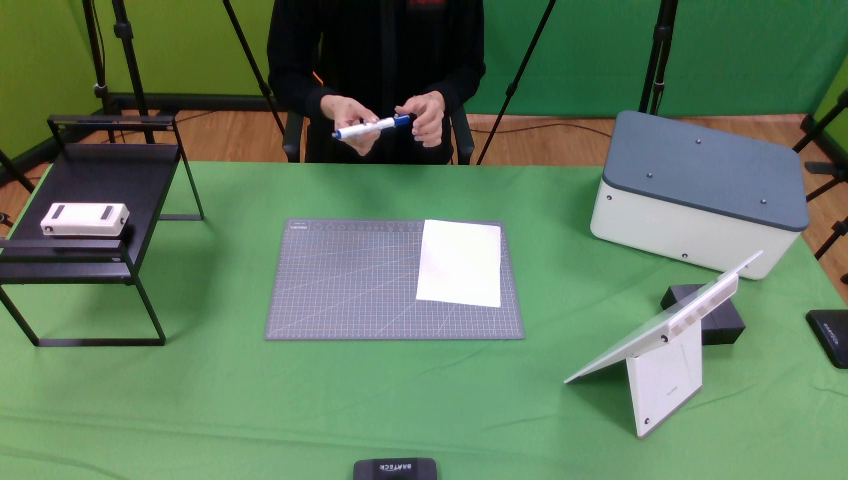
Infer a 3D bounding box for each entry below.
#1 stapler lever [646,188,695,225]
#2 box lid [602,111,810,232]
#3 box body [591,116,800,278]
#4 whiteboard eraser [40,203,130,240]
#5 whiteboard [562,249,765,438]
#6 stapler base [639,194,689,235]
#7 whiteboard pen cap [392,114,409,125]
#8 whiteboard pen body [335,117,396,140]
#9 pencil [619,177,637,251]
[{"bbox_3d":[0.516,-0.078,1.265,0.027,0.040,0.117,1,40,-31],"label":"stapler lever"},{"bbox_3d":[0.545,-0.143,1.176,0.371,0.015,0.262,15,47,11],"label":"box lid"},{"bbox_3d":[0.540,-0.092,1.229,0.363,0.161,0.253,16,47,11],"label":"box body"},{"bbox_3d":[-0.513,-0.028,0.922,0.113,0.042,0.055,1,48,-3],"label":"whiteboard eraser"},{"bbox_3d":[0.386,0.175,0.905,0.217,0.306,0.143,-26,72,-26],"label":"whiteboard"},{"bbox_3d":[0.510,-0.059,1.278,0.041,0.024,0.129,1,38,-31],"label":"stapler base"},{"bbox_3d":[-0.044,-0.210,1.058,0.033,0.018,0.018,-20,51,-33],"label":"whiteboard pen cap"},{"bbox_3d":[-0.089,-0.191,1.025,0.141,0.017,0.017,-22,51,-33],"label":"whiteboard pen body"},{"bbox_3d":[0.431,-0.060,1.284,0.012,0.012,0.193,2,56,-2],"label":"pencil"}]
